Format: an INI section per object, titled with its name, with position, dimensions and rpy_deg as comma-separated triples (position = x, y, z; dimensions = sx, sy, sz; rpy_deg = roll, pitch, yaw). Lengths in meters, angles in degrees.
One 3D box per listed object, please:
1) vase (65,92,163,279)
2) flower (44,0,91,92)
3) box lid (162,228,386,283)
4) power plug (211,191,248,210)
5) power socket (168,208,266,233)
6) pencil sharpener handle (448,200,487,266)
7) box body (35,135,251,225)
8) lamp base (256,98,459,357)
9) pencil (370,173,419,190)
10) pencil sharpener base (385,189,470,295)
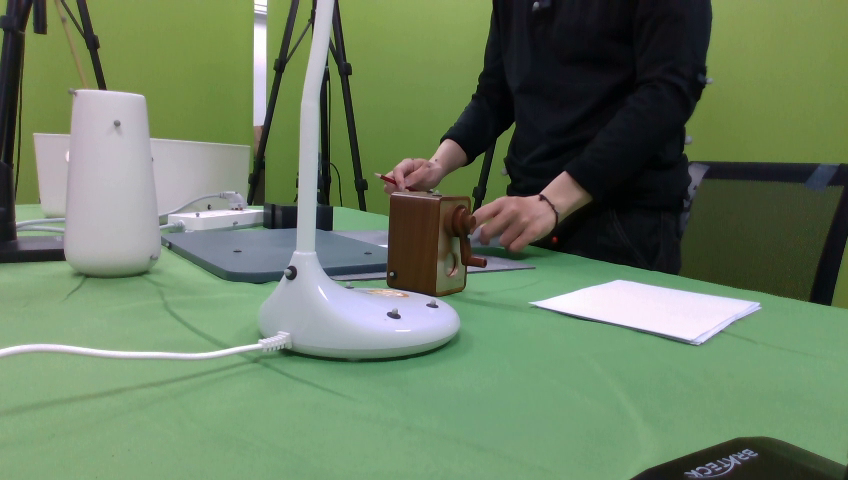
[vase]
position = -0.347, -0.060, 0.673
dimensions = 0.098, 0.200, 0.098
rpy_deg = 1, 7, 0
[flower]
position = -0.361, -0.142, 0.663
dimensions = 0.044, 0.361, 0.038
rpy_deg = -12, 11, 30
[box lid]
position = -0.200, 0.014, 0.861
dimensions = 0.265, 0.015, 0.369
rpy_deg = -4, 10, -35
[power plug]
position = -0.384, -0.071, 1.205
dimensions = 0.072, 0.052, 0.035
rpy_deg = 1, 8, 28
[power socket]
position = -0.379, -0.038, 1.129
dimensions = 0.072, 0.032, 0.227
rpy_deg = 4, 8, 18
[pencil sharpener handle]
position = 0.049, -0.006, 0.623
dimensions = 0.030, 0.068, 0.036
rpy_deg = 8, 22, 37
[box body]
position = -0.559, -0.127, 1.257
dimensions = 0.253, 0.160, 0.365
rpy_deg = 4, 8, 15
[lamp base]
position = -0.055, -0.013, 0.463
dimensions = 0.160, 0.180, 0.180
rpy_deg = 6, 11, 27
[pencil]
position = -0.020, -0.094, 1.115
dimensions = 0.195, 0.012, 0.012
rpy_deg = 16, -2, -36
[pencil sharpener base]
position = 0.006, 0.001, 0.653
dimensions = 0.076, 0.107, 0.061
rpy_deg = 8, 9, 37
